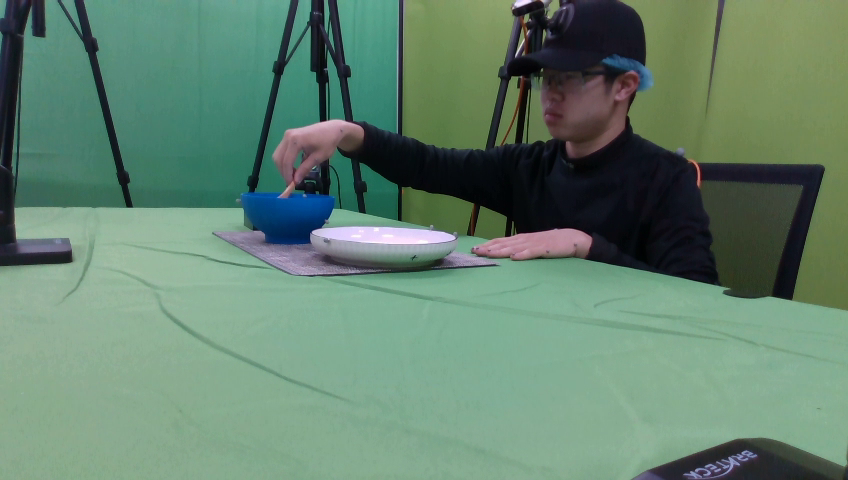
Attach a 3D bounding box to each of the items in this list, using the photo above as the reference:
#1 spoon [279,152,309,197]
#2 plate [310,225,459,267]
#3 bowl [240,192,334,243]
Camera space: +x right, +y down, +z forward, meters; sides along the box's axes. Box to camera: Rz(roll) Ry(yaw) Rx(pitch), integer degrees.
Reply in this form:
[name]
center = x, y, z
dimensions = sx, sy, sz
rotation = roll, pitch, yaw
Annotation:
[spoon]
center = -0.233, -0.092, 1.048
dimensions = 0.021, 0.042, 0.193
rotation = -17, 36, 35
[plate]
center = -0.055, 0.008, 0.851
dimensions = 0.208, 0.039, 0.207
rotation = 2, 7, 0
[bowl]
center = -0.223, -0.037, 0.992
dimensions = 0.151, 0.077, 0.151
rotation = 2, 7, 0
